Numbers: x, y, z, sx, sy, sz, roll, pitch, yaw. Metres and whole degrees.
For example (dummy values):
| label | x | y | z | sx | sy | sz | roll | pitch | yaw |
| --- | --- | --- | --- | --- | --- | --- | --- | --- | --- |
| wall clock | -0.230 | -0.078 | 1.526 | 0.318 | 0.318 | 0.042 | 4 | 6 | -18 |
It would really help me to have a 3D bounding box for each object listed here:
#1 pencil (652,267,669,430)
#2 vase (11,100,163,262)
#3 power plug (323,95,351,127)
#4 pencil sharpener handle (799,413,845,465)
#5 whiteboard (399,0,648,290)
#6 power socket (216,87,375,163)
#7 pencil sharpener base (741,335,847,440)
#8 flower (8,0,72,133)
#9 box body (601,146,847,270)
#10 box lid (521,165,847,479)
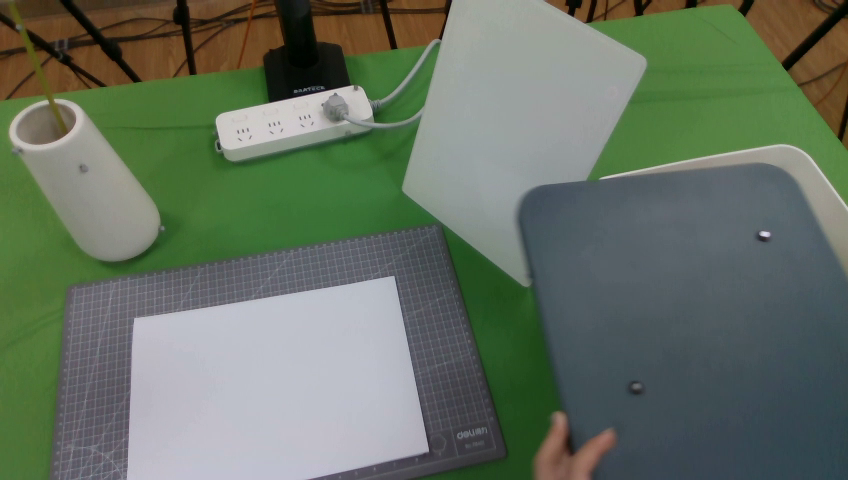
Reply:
| label | x | y | z | sx | sy | sz | roll | pitch | yaw |
| --- | --- | --- | --- | --- | --- | --- | --- | --- | --- |
| pencil | 0.269 | 0.118 | 0.688 | 0.012 | 0.012 | 0.192 | 7 | 61 | 3 |
| vase | -0.369 | -0.059 | 0.673 | 0.098 | 0.201 | 0.097 | 0 | 57 | 0 |
| power plug | -0.118 | -0.165 | 0.821 | 0.035 | 0.053 | 0.072 | -7 | 59 | -5 |
| pencil sharpener handle | 0.372 | 0.189 | 0.571 | 0.036 | 0.068 | 0.030 | 2 | 57 | 13 |
| whiteboard | 0.126 | -0.134 | 0.712 | 0.215 | 0.307 | 0.144 | 39 | 45 | 22 |
| power socket | -0.176 | -0.162 | 0.844 | 0.227 | 0.033 | 0.071 | -15 | 60 | -12 |
| pencil sharpener base | 0.376 | 0.154 | 0.609 | 0.061 | 0.108 | 0.076 | 9 | 58 | 3 |
| flower | -0.365 | -0.121 | 0.615 | 0.038 | 0.365 | 0.043 | -21 | 42 | -22 |
| box body | 0.325 | 0.105 | 0.612 | 0.254 | 0.161 | 0.360 | -11 | 58 | -9 |
| box lid | 0.233 | 0.093 | 0.479 | 0.263 | 0.015 | 0.368 | -5 | 59 | -2 |
